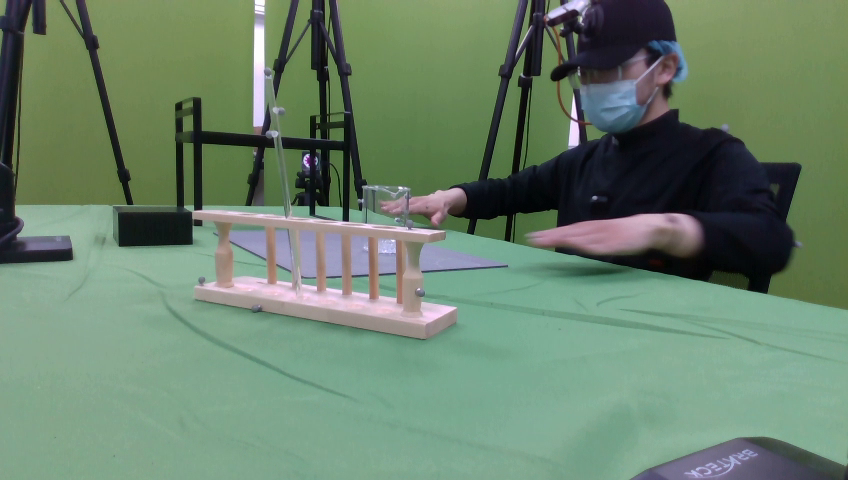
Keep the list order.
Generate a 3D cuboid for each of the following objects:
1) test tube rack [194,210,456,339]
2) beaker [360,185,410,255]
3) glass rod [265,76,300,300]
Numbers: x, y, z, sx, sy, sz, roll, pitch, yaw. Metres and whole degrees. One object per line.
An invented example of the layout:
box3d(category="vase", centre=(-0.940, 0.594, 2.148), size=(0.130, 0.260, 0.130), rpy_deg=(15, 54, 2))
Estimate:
box3d(category="test tube rack", centre=(-0.093, 0.023, 0.546), size=(0.241, 0.085, 0.067), rpy_deg=(6, 8, 25))
box3d(category="beaker", centre=(-0.058, -0.031, 0.907), size=(0.074, 0.100, 0.083), rpy_deg=(-1, 9, -22))
box3d(category="glass rod", centre=(-0.124, -0.043, 0.533), size=(0.008, 0.199, 0.008), rpy_deg=(-6, 7, 1))
